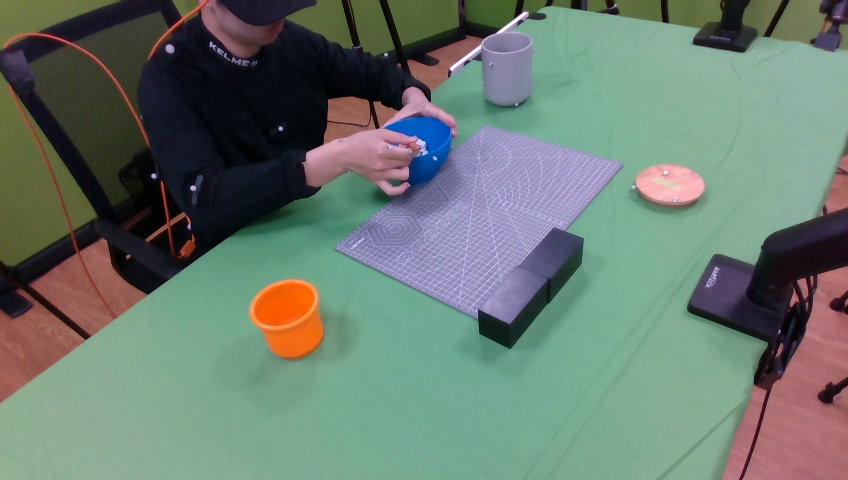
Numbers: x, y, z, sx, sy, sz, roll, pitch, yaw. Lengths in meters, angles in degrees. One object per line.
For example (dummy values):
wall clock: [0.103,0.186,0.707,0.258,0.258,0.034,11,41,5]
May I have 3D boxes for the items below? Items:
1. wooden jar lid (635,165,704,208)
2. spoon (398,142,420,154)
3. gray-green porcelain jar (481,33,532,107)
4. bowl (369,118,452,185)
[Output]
wooden jar lid: [0.410,-0.089,1.014,0.108,0.021,0.108,-5,42,5]
spoon: [-0.022,-0.159,1.027,0.042,0.021,0.193,-6,7,-4]
gray-green porcelain jar: [0.175,-0.355,1.278,0.106,0.127,0.105,-4,41,4]
bowl: [-0.019,-0.154,1.106,0.151,0.077,0.150,-6,38,5]
